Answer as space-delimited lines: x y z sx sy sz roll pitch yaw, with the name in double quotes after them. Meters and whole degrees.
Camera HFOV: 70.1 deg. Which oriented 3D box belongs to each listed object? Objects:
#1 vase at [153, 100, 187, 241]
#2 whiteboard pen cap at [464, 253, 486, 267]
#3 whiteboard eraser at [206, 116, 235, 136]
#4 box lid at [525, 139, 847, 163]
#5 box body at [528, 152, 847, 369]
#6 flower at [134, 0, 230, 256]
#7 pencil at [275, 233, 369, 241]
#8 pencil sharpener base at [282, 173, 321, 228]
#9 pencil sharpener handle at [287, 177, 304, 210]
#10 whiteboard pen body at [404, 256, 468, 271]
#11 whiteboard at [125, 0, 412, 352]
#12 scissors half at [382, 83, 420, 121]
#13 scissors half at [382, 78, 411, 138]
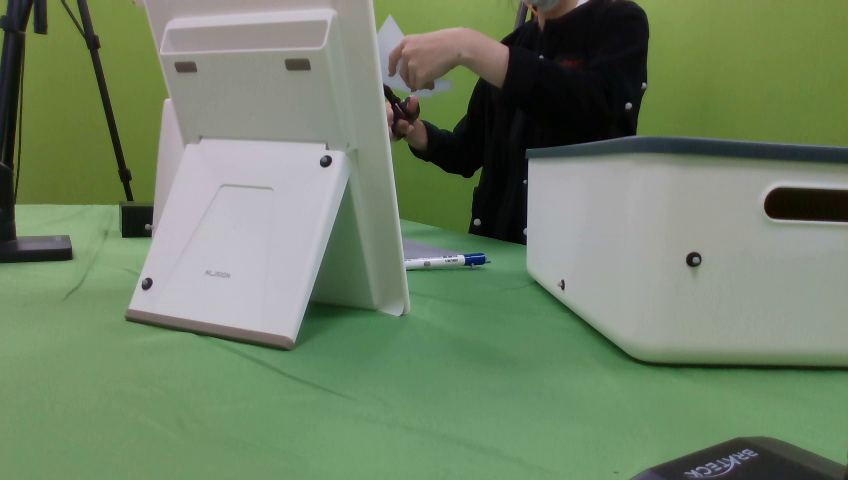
-0.278 -0.066 0.736 0.098 0.200 0.098 2 9 0 "vase"
0.066 0.027 0.818 0.033 0.018 0.018 -5 10 -24 "whiteboard pen cap"
-0.450 -0.252 1.335 0.056 0.042 0.112 1 7 -22 "whiteboard eraser"
0.261 -0.078 0.580 0.264 0.015 0.371 2 7 -4 "box lid"
0.258 -0.005 0.591 0.254 0.160 0.363 2 7 -4 "box body"
-0.282 -0.147 0.713 0.038 0.362 0.044 -23 24 -31 "flower"
-0.169 -0.006 1.036 0.195 0.012 0.012 -2 9 -45 "pencil"
-0.247 -0.080 1.212 0.061 0.107 0.076 -2 5 -28 "pencil sharpener base"
-0.269 -0.096 1.257 0.036 0.067 0.030 -8 8 -27 "pencil sharpener handle"
0.013 0.030 0.792 0.141 0.017 0.017 -2 9 -24 "whiteboard pen body"
-0.151 -0.049 0.471 0.216 0.305 0.144 6 27 24 "whiteboard"
-0.047 -0.256 1.080 0.013 0.040 0.176 23 3 25 "scissors half"
-0.058 -0.237 1.078 0.012 0.040 0.176 28 -17 26 "scissors half"
